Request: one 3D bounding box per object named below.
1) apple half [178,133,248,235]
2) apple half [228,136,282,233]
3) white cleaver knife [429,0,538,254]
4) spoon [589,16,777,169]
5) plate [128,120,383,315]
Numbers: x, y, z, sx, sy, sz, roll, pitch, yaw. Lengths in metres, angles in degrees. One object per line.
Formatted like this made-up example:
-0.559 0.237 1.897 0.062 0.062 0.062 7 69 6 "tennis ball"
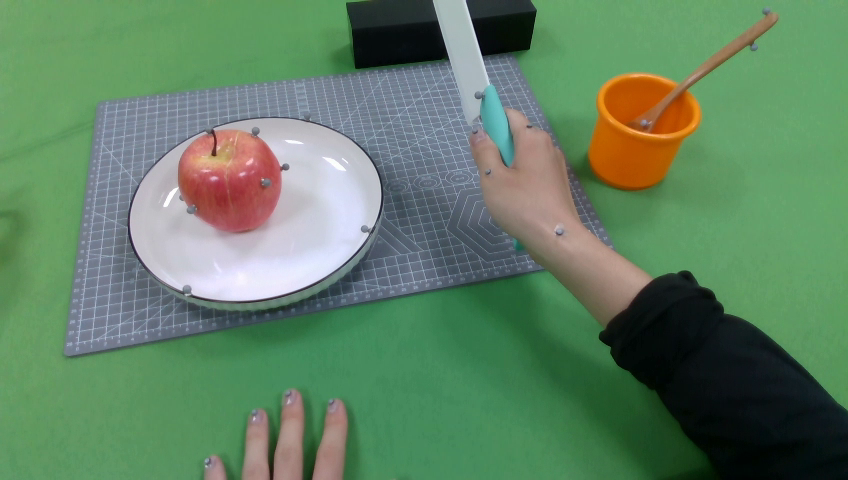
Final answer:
-0.173 -0.045 0.504 0.053 0.075 0.080 -2 55 2 "apple half"
-0.134 -0.045 0.504 0.033 0.082 0.080 -3 52 2 "apple half"
0.043 -0.127 0.509 0.021 0.066 0.286 -14 87 -17 "white cleaver knife"
0.233 -0.132 0.554 0.022 0.194 0.041 23 34 -43 "spoon"
-0.139 -0.021 0.520 0.209 0.038 0.207 2 52 -2 "plate"
